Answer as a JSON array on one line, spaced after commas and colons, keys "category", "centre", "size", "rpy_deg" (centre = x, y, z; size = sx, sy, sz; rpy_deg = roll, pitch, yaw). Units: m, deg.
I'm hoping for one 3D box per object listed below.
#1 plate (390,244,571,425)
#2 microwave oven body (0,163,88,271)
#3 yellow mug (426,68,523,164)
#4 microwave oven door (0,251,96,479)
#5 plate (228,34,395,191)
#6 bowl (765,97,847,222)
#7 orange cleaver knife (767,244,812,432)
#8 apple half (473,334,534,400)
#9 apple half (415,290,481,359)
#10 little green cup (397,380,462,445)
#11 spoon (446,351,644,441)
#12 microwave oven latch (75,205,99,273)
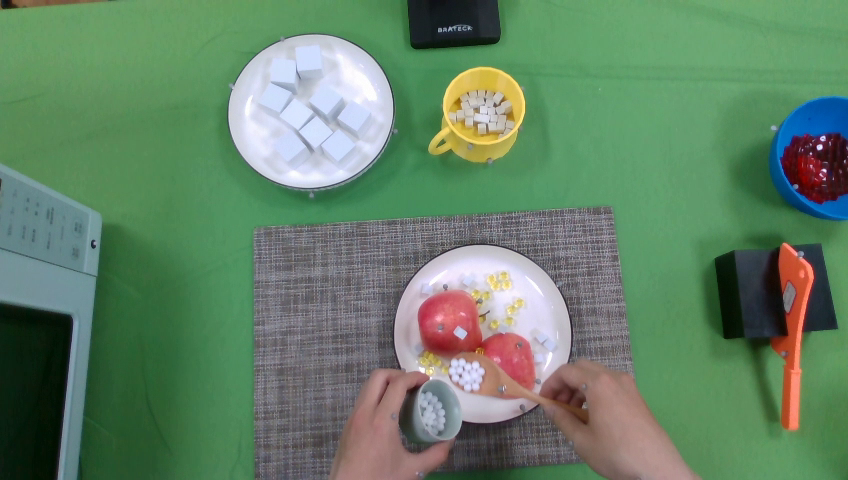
[{"category": "plate", "centre": [0.064, 0.109, 0.710], "size": [0.209, 0.038, 0.208], "rpy_deg": [0, 79, 0]}, {"category": "microwave oven body", "centre": [-0.554, 0.152, 0.587], "size": [0.326, 0.261, 0.439], "rpy_deg": [0, 79, -1]}, {"category": "yellow mug", "centre": [0.057, -0.144, 0.752], "size": [0.131, 0.064, 0.099], "rpy_deg": [-35, 80, -6]}, {"category": "microwave oven door", "centre": [-0.407, 0.192, 0.574], "size": [0.039, 0.245, 0.354], "rpy_deg": [-1, 78, 0]}, {"category": "plate", "centre": [-0.139, -0.159, 0.769], "size": [0.208, 0.039, 0.206], "rpy_deg": [0, 78, 0]}, {"category": "bowl", "centre": [0.478, -0.087, 0.734], "size": [0.151, 0.077, 0.150], "rpy_deg": [0, 79, 0]}, {"category": "orange cleaver knife", "centre": [0.412, 0.112, 0.692], "size": [0.012, 0.077, 0.212], "rpy_deg": [-2, 102, 4]}, {"category": "apple half", "centre": [0.091, 0.146, 0.697], "size": [0.081, 0.033, 0.081], "rpy_deg": [0, 76, 1]}, {"category": "apple half", "centre": [0.027, 0.096, 0.697], "size": [0.074, 0.053, 0.080], "rpy_deg": [-6, 79, 1]}, {"category": "little green cup", "centre": [0.004, 0.179, 0.619], "size": [0.062, 0.039, 0.061], "rpy_deg": [22, 47, -26]}, {"category": "spoon", "centre": [0.111, 0.153, 0.579], "size": [0.192, 0.022, 0.041], "rpy_deg": [17, 83, 23]}, {"category": "microwave oven latch", "centre": [-0.406, -0.001, 0.718], "size": [0.030, 0.029, 0.079], "rpy_deg": [1, 79, 0]}]
